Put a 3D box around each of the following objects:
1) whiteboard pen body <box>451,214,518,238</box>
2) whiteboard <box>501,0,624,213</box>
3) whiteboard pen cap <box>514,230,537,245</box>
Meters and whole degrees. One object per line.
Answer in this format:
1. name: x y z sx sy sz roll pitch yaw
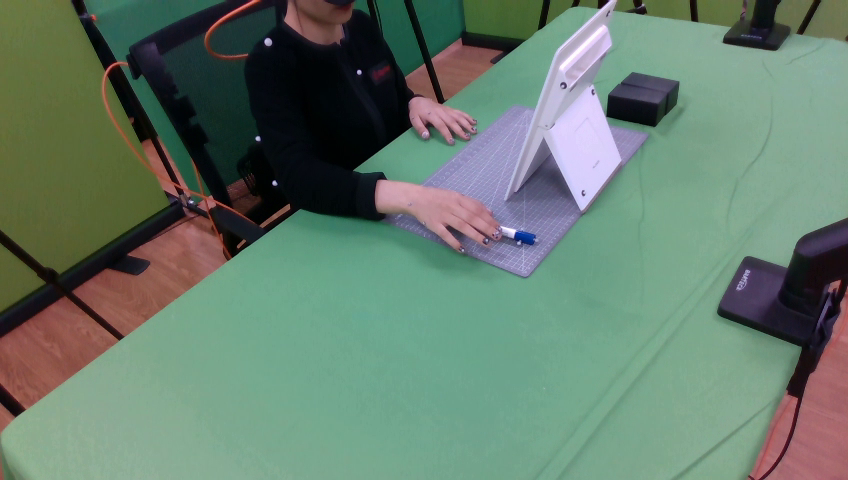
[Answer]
1. whiteboard pen body: 0.109 -0.020 0.980 0.140 0.017 0.017 16 47 24
2. whiteboard: 0.271 -0.189 0.977 0.143 0.306 0.218 34 53 16
3. whiteboard pen cap: 0.160 -0.005 0.956 0.033 0.018 0.018 17 47 26
